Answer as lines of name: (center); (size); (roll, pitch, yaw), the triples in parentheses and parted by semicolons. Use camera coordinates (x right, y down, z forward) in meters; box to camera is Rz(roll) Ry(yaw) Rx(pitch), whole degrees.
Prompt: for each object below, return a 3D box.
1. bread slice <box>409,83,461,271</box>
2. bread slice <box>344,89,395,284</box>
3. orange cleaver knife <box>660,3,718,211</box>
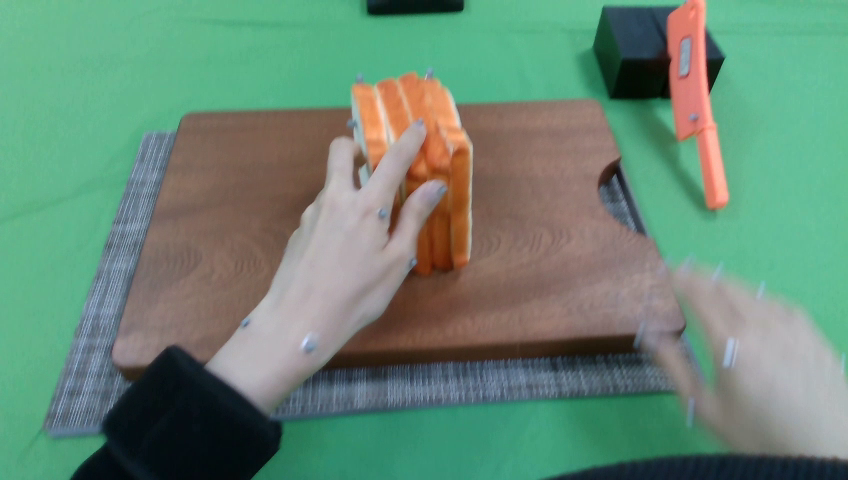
bread slice: (0.008, -0.058, 0.458); (0.019, 0.106, 0.130); (-8, 43, -6)
bread slice: (-0.041, -0.048, 0.454); (0.018, 0.108, 0.133); (-8, 42, -10)
orange cleaver knife: (0.247, -0.124, 0.574); (0.012, 0.077, 0.210); (-1, 78, -3)
